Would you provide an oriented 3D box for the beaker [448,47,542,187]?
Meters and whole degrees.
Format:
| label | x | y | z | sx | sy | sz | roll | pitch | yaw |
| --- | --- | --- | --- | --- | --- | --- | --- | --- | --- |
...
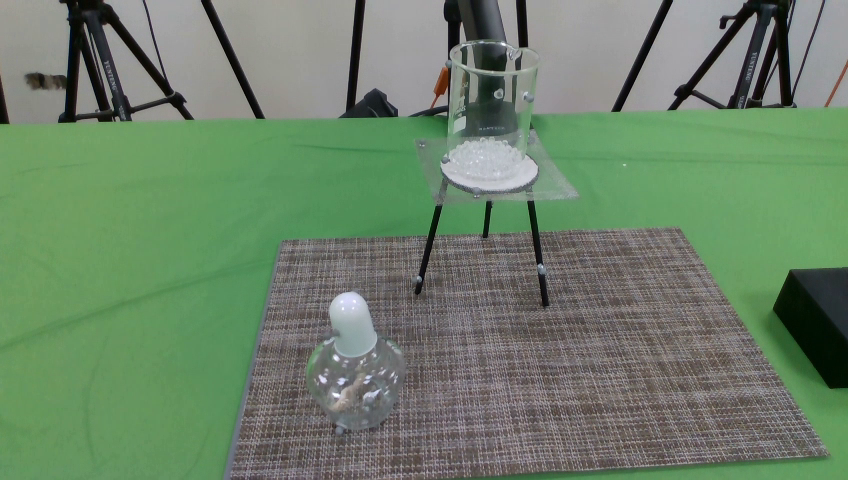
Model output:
| label | x | y | z | sx | sy | sz | roll | pitch | yaw |
| --- | --- | --- | --- | --- | --- | --- | --- | --- | --- |
| beaker | 0.059 | -0.104 | 0.517 | 0.073 | 0.101 | 0.084 | 21 | 40 | 23 |

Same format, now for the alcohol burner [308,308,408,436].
| label | x | y | z | sx | sy | sz | roll | pitch | yaw |
| --- | --- | --- | --- | --- | --- | --- | --- | --- | --- |
| alcohol burner | -0.051 | 0.093 | 0.459 | 0.078 | 0.120 | 0.077 | 1 | 38 | 0 |

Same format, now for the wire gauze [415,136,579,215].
| label | x | y | z | sx | sy | sz | roll | pitch | yaw |
| --- | --- | --- | --- | --- | --- | --- | --- | --- | --- |
| wire gauze | 0.060 | -0.060 | 0.540 | 0.125 | 0.011 | 0.120 | -2 | 38 | -10 |

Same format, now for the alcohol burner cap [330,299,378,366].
| label | x | y | z | sx | sy | sz | roll | pitch | yaw |
| --- | --- | --- | --- | --- | --- | --- | --- | --- | --- |
| alcohol burner cap | -0.053 | 0.064 | 0.438 | 0.034 | 0.048 | 0.033 | -4 | 35 | 3 |

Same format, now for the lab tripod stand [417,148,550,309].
| label | x | y | z | sx | sy | sz | roll | pitch | yaw |
| --- | --- | --- | --- | --- | --- | --- | --- | --- | --- |
| lab tripod stand | 0.064 | -0.010 | 0.583 | 0.148 | 0.132 | 0.147 | 2 | 36 | -1 |
